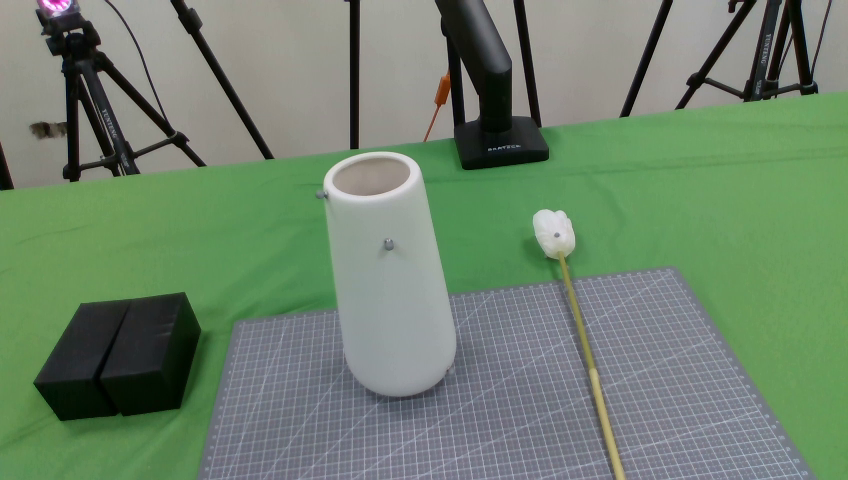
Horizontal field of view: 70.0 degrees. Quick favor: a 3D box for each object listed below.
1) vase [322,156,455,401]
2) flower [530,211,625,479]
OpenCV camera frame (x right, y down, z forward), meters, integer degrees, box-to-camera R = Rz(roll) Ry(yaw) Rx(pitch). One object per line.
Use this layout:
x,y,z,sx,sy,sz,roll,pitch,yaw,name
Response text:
-0.029,0.036,0.485,0.098,0.202,0.097,-5,36,4,vase
0.142,0.093,0.544,0.044,0.038,0.358,24,36,-21,flower
